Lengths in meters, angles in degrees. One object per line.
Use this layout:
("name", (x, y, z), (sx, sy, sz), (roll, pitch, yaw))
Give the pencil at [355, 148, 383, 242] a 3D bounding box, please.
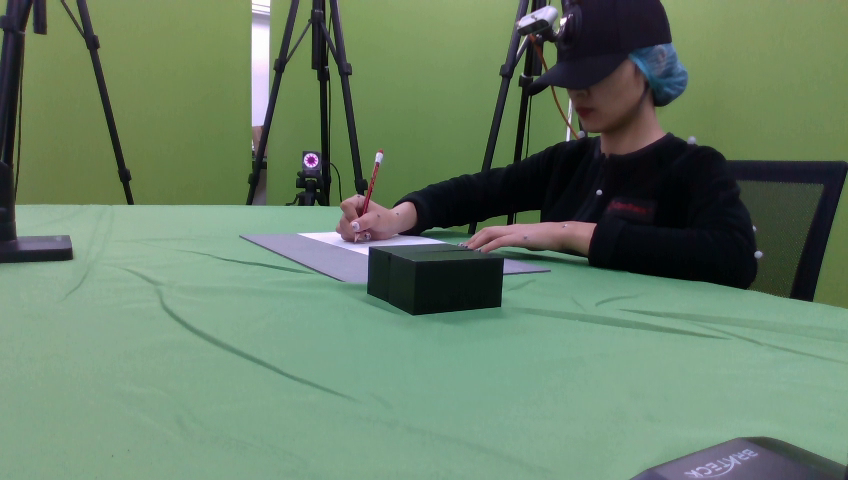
("pencil", (-0.092, -0.078, 1.007), (0.012, 0.194, 0.012), (8, -31, 5))
